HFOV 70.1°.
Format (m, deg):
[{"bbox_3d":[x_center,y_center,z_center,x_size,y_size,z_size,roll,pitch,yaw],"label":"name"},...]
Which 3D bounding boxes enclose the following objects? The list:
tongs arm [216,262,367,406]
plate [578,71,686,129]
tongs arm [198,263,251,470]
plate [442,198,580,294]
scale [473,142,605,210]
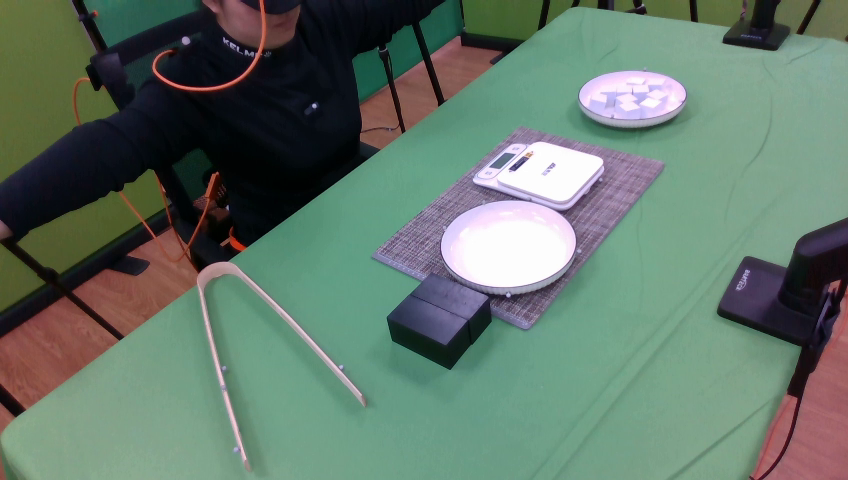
[{"bbox_3d":[-0.201,0.121,0.870,0.028,0.028,0.384,-36,46,-24],"label":"tongs arm"},{"bbox_3d":[0.416,-0.280,1.222,0.209,0.038,0.208,-5,41,5],"label":"plate"},{"bbox_3d":[-0.270,0.154,0.840,0.051,0.026,0.381,-24,41,-17],"label":"tongs arm"},{"bbox_3d":[0.132,0.012,0.925,0.207,0.039,0.206,-5,40,5],"label":"plate"},{"bbox_3d":[0.202,-0.121,1.074,0.199,0.032,0.149,23,49,33],"label":"scale"}]
